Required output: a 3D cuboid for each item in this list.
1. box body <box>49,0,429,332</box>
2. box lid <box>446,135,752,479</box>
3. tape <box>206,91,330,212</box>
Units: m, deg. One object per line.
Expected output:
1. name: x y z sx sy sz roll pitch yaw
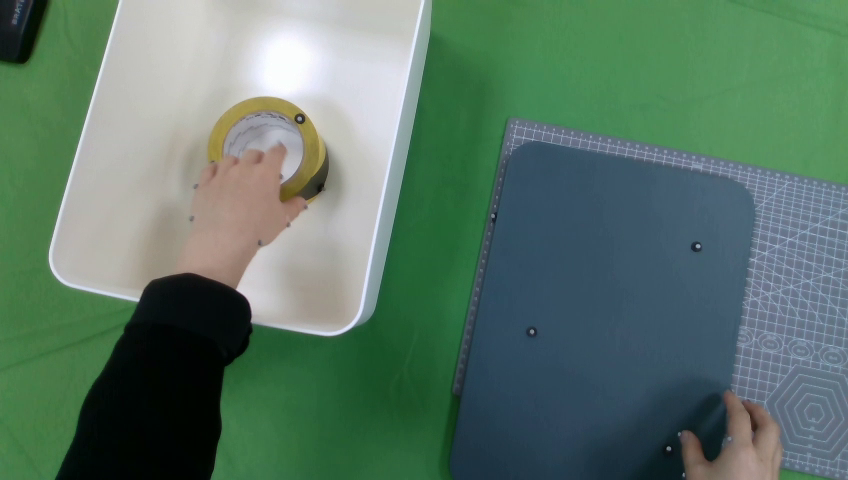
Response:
1. box body: -0.144 -0.112 0.572 0.254 0.161 0.363 10 83 1
2. box lid: 0.182 0.086 0.619 0.263 0.015 0.370 12 83 1
3. tape: -0.157 -0.088 0.617 0.117 0.053 0.116 0 80 2
